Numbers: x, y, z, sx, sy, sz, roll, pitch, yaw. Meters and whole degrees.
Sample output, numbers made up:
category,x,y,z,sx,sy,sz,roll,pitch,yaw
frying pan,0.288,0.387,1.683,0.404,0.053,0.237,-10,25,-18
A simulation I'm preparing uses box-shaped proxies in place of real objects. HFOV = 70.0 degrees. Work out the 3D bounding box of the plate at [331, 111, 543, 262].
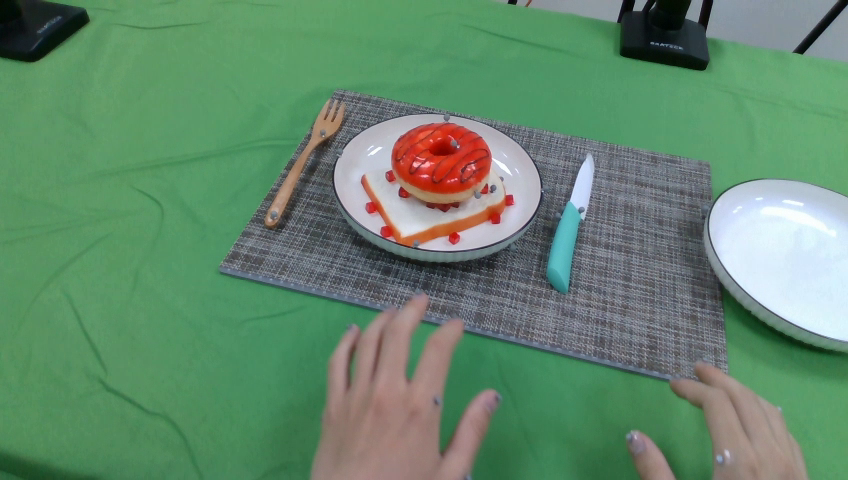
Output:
category,x,y,z,sx,sy,sz,roll,pitch,yaw
plate,0.012,-0.054,0.609,0.209,0.038,0.207,2,48,-2

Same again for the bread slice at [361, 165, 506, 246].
category,x,y,z,sx,sy,sz,roll,pitch,yaw
bread slice,0.014,-0.049,0.608,0.132,0.019,0.103,-19,53,-20

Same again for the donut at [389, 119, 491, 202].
category,x,y,z,sx,sy,sz,roll,pitch,yaw
donut,0.015,-0.078,0.582,0.099,0.048,0.098,3,47,-2

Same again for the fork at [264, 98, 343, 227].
category,x,y,z,sx,sy,sz,roll,pitch,yaw
fork,-0.125,-0.088,0.640,0.028,0.019,0.205,17,46,0

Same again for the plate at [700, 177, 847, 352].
category,x,y,z,sx,sy,sz,roll,pitch,yaw
plate,0.364,0.022,0.575,0.208,0.039,0.205,3,48,-2

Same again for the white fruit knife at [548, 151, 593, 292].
category,x,y,z,sx,sy,sz,roll,pitch,yaw
white fruit knife,0.153,-0.029,0.615,0.027,0.016,0.206,36,47,-11
